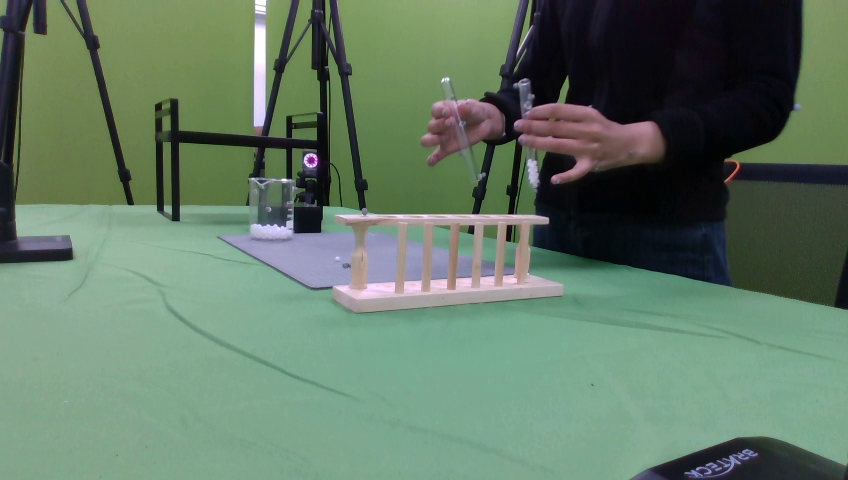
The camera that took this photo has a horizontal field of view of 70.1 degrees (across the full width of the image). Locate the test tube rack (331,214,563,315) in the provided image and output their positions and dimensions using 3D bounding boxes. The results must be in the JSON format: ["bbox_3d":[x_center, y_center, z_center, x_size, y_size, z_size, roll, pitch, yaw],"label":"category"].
[{"bbox_3d":[0.031,0.019,0.625,0.243,0.085,0.066,-1,9,-28],"label":"test tube rack"}]

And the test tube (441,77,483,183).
[{"bbox_3d":[0.051,-0.150,0.825,0.017,0.150,0.017,-18,2,1],"label":"test tube"}]

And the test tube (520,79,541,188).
[{"bbox_3d":[0.140,-0.141,0.793,0.017,0.150,0.017,-3,-12,0],"label":"test tube"}]

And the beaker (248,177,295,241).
[{"bbox_3d":[-0.252,-0.051,0.992,0.074,0.100,0.084,3,9,6],"label":"beaker"}]
